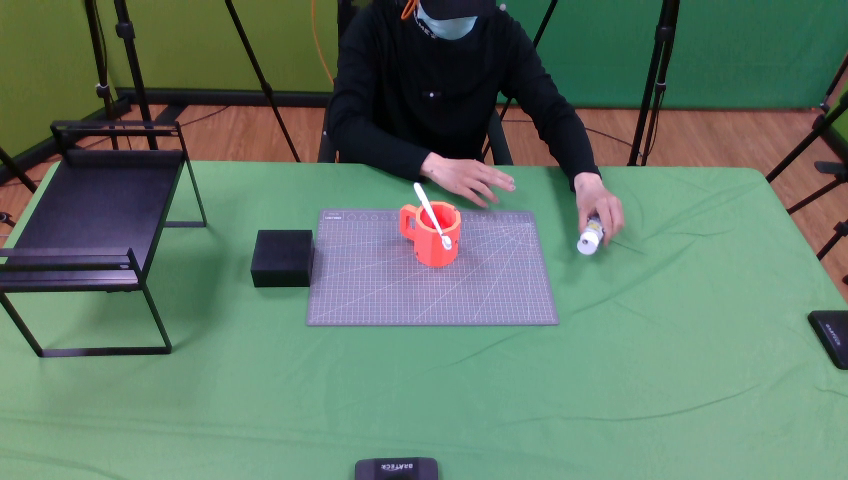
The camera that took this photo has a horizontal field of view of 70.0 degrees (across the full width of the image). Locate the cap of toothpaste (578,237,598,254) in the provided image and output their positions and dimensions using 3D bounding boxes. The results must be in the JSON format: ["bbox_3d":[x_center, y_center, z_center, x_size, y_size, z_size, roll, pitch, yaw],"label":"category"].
[{"bbox_3d":[0.308,0.009,1.139,0.037,0.037,0.011,15,37,10],"label":"cap of toothpaste"}]

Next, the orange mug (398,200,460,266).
[{"bbox_3d":[0.007,-0.020,1.161,0.126,0.101,0.083,27,50,15],"label":"orange mug"}]

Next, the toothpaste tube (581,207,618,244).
[{"bbox_3d":[0.345,-0.027,1.202,0.055,0.034,0.165,19,35,18],"label":"toothpaste tube"}]

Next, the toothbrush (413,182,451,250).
[{"bbox_3d":[0.013,-0.050,1.118,0.014,0.017,0.180,-15,49,-14],"label":"toothbrush"}]
